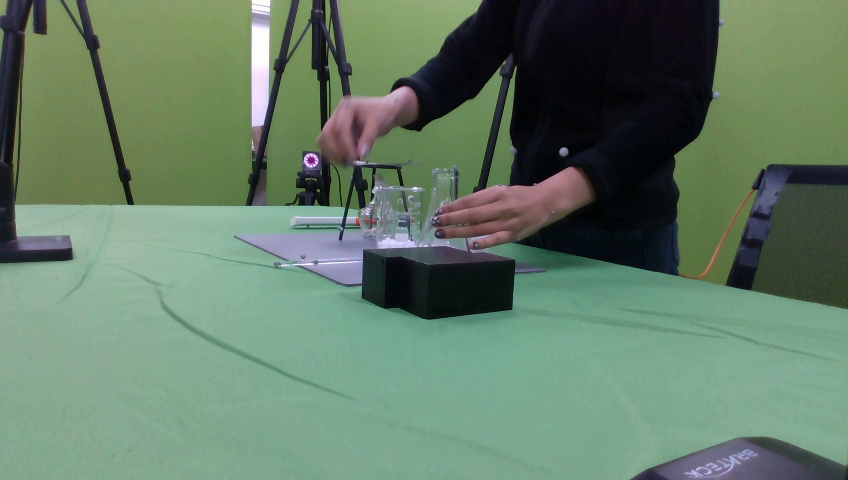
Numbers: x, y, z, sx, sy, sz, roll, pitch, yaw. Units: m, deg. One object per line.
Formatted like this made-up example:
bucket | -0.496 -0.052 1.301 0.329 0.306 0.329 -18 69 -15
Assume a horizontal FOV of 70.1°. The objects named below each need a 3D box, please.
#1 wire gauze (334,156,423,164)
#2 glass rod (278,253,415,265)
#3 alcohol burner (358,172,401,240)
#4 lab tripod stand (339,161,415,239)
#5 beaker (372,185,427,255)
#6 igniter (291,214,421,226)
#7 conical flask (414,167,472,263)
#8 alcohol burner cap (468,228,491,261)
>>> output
wire gauze | -0.081 -0.137 1.051 0.122 0.011 0.124 0 8 -30
glass rod | -0.097 0.024 0.805 0.201 0.008 0.008 -3 8 -33
alcohol burner | -0.077 -0.061 1.065 0.078 0.119 0.078 4 9 0
lab tripod stand | -0.082 -0.070 1.059 0.148 0.131 0.148 4 6 0
beaker | -0.038 -0.031 0.905 0.084 0.100 0.073 -1 8 -21
igniter | -0.135 -0.041 1.250 0.278 0.025 0.057 -1 -3 -28
conical flask | 0.026 -0.032 0.782 0.075 0.122 0.075 2 2 0
alcohol burner cap | 0.082 0.006 0.878 0.034 0.048 0.034 4 7 0
